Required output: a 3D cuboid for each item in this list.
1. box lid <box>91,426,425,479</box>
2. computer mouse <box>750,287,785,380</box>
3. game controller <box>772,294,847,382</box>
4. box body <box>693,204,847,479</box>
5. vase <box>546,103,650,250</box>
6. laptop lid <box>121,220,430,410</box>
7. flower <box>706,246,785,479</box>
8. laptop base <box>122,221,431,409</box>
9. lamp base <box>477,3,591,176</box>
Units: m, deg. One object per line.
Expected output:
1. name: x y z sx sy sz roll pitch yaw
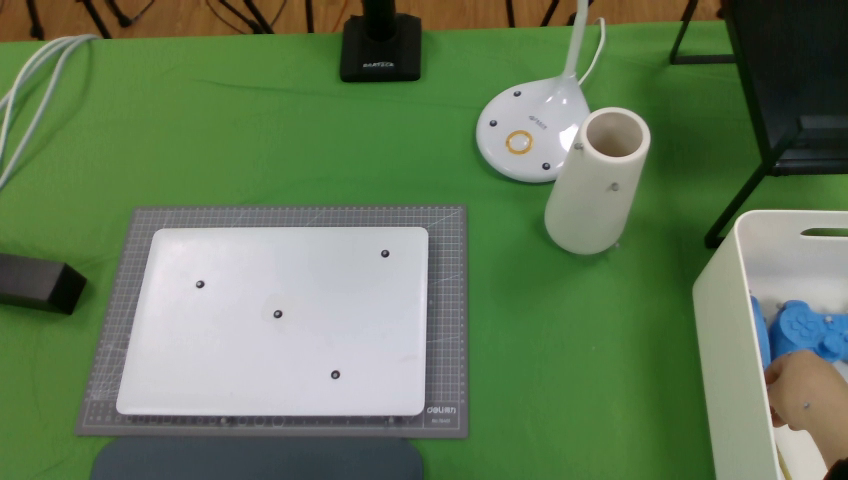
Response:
1. box lid: -0.186 0.329 0.627 0.371 0.015 0.261 0 65 3
2. computer mouse: 0.360 0.102 0.684 0.063 0.041 0.116 -4 56 4
3. game controller: 0.466 0.110 0.673 0.155 0.052 0.096 3 63 3
4. box body: 0.426 0.163 0.590 0.254 0.161 0.361 1 64 4
5. vase: 0.196 -0.068 0.692 0.098 0.201 0.097 -2 63 4
6. laptop lid: -0.170 0.083 0.725 0.356 0.013 0.240 1 67 4
7. flower: 0.356 0.180 0.636 0.038 0.044 0.359 -21 70 42
8. laptop base: -0.170 0.086 0.736 0.354 0.023 0.234 0 68 3
9. lamp base: 0.156 -0.200 0.767 0.159 0.181 0.178 32 67 17
